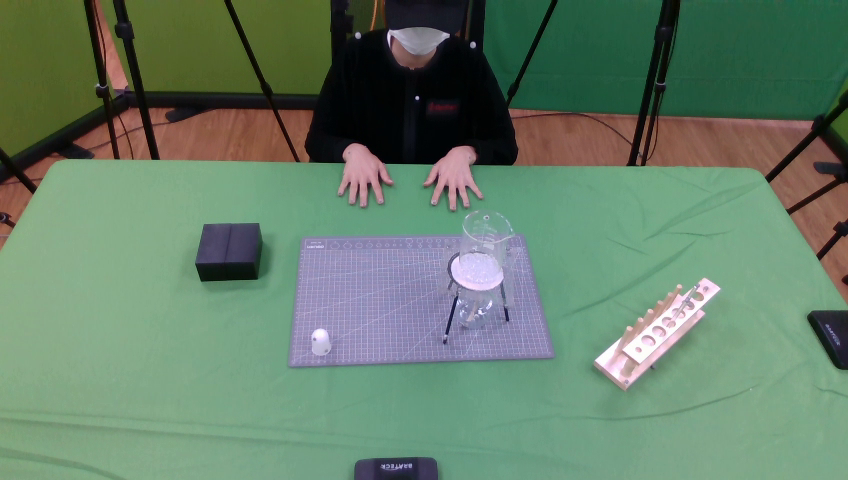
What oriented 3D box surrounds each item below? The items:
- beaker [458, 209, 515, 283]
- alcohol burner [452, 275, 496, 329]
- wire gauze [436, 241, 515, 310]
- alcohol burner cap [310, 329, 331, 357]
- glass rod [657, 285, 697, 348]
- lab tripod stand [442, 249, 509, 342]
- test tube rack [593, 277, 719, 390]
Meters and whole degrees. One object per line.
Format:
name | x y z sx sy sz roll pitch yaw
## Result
beaker | 0.094 0.013 0.952 0.084 0.101 0.073 12 46 7
alcohol burner | 0.087 0.099 1.042 0.078 0.119 0.077 3 48 -3
wire gauze | 0.086 0.052 0.982 0.125 0.011 0.121 11 47 2
alcohol burner cap | -0.173 0.168 1.005 0.034 0.048 0.033 2 46 -2
glass rod | 0.401 0.128 0.971 0.008 0.201 0.008 0 53 1
lab tripod stand | 0.081 0.091 1.036 0.148 0.132 0.147 3 44 -3
test tube rack | 0.401 0.148 1.043 0.242 0.085 0.066 -30 55 -29
